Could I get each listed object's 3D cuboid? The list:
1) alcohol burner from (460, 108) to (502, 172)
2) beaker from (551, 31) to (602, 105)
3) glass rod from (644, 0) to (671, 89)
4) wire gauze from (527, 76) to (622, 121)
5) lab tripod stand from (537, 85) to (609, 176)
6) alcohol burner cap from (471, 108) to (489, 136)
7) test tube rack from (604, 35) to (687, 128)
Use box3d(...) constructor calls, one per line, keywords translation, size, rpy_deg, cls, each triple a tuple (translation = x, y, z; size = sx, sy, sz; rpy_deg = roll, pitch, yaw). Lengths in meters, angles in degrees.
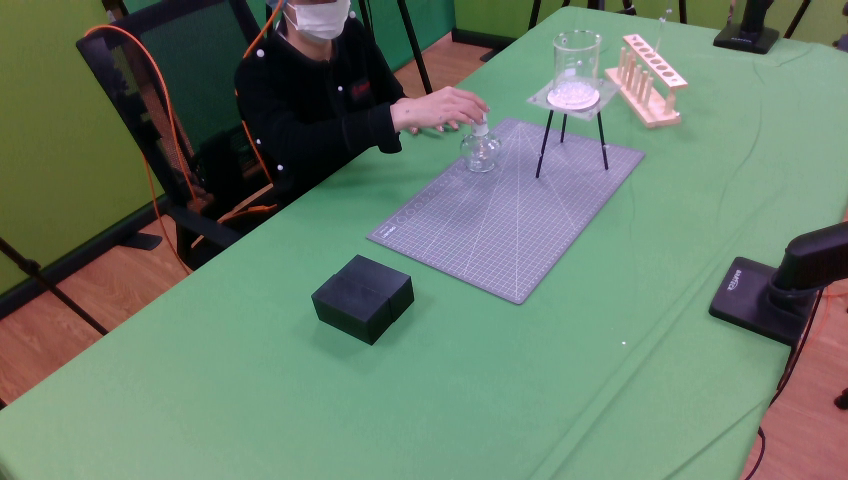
box3d(translation=(0.102, -0.184, 1.098), size=(0.078, 0.119, 0.077), rpy_deg=(-6, 40, 6), cls="alcohol burner")
box3d(translation=(0.252, -0.282, 0.998), size=(0.084, 0.101, 0.073), rpy_deg=(-16, 42, -7), cls="beaker")
box3d(translation=(0.463, -0.387, 1.204), size=(0.008, 0.200, 0.008), rpy_deg=(0, 47, 1), cls="glass rod")
box3d(translation=(0.255, -0.247, 1.031), size=(0.124, 0.011, 0.122), rpy_deg=(23, 49, 34), cls="wire gauze")
box3d(translation=(0.259, -0.192, 1.068), size=(0.148, 0.132, 0.147), rpy_deg=(-4, 43, 4), cls="lab tripod stand")
box3d(translation=(0.098, -0.211, 1.074), size=(0.034, 0.048, 0.033), rpy_deg=(-6, 40, 5), cls="alcohol burner cap")
box3d(translation=(0.447, -0.330, 1.241), size=(0.067, 0.085, 0.241), rpy_deg=(-9, 41, -2), cls="test tube rack")
